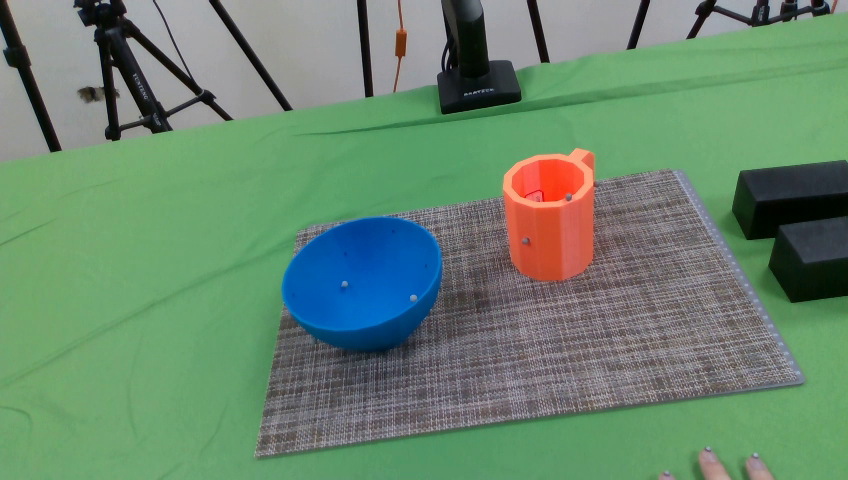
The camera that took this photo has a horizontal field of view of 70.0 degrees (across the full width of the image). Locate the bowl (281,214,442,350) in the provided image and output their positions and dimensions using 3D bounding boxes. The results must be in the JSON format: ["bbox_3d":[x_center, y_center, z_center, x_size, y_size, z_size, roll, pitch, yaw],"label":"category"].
[{"bbox_3d":[-0.051,0.052,0.578,0.151,0.077,0.150,-8,41,7],"label":"bowl"}]

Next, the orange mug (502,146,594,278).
[{"bbox_3d":[0.136,-0.037,0.613,0.083,0.102,0.126,22,56,34],"label":"orange mug"}]
